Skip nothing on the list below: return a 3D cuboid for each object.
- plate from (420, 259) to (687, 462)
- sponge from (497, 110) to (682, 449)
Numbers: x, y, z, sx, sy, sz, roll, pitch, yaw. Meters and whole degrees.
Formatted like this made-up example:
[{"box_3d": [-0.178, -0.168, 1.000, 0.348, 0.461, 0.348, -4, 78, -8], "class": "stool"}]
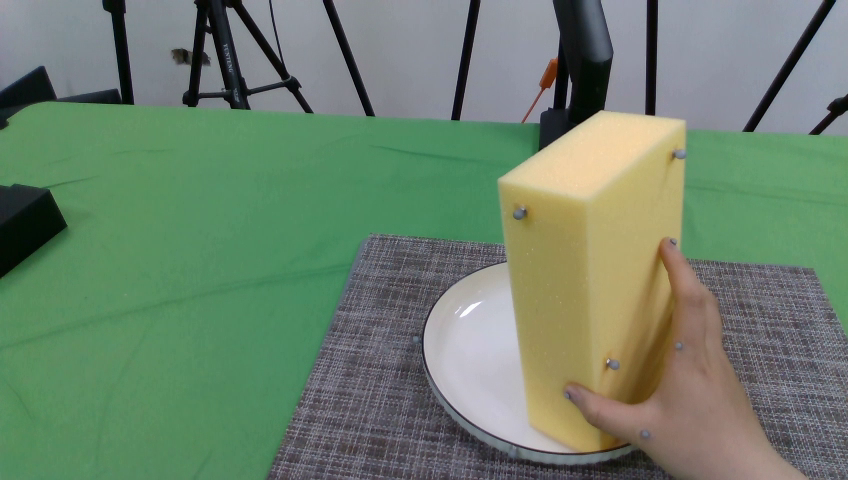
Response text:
[{"box_3d": [0.101, 0.092, 0.494, 0.208, 0.039, 0.205, -1, 38, 1], "class": "plate"}, {"box_3d": [0.119, 0.030, 0.416, 0.060, 0.209, 0.118, 19, 43, 40], "class": "sponge"}]
